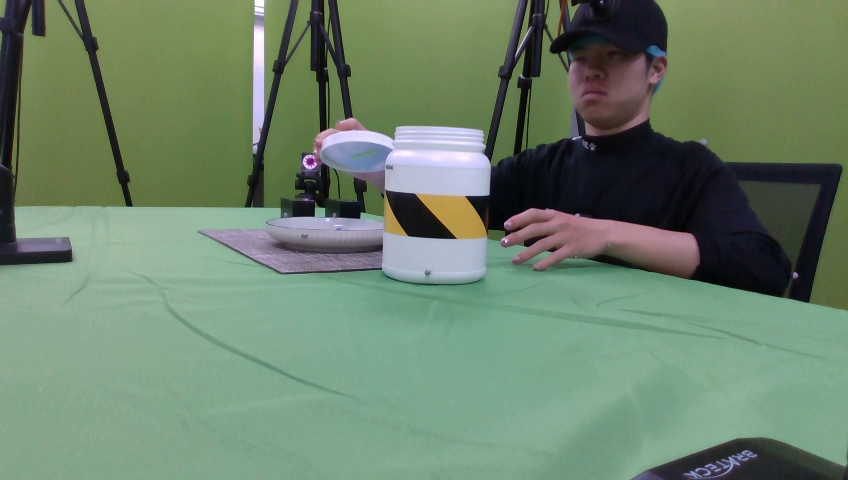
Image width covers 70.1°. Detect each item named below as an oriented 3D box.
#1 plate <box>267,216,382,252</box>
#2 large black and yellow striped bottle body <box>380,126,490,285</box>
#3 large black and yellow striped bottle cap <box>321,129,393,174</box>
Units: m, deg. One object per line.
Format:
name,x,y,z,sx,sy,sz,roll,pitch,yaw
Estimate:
plate,-0.145,-0.010,0.967,0.208,0.039,0.207,2,7,0
large black and yellow striped bottle body,0.013,-0.044,0.747,0.131,0.184,0.130,3,7,0
large black and yellow striped bottle cap,-0.093,-0.127,0.880,0.115,0.019,0.115,-3,-18,-1
